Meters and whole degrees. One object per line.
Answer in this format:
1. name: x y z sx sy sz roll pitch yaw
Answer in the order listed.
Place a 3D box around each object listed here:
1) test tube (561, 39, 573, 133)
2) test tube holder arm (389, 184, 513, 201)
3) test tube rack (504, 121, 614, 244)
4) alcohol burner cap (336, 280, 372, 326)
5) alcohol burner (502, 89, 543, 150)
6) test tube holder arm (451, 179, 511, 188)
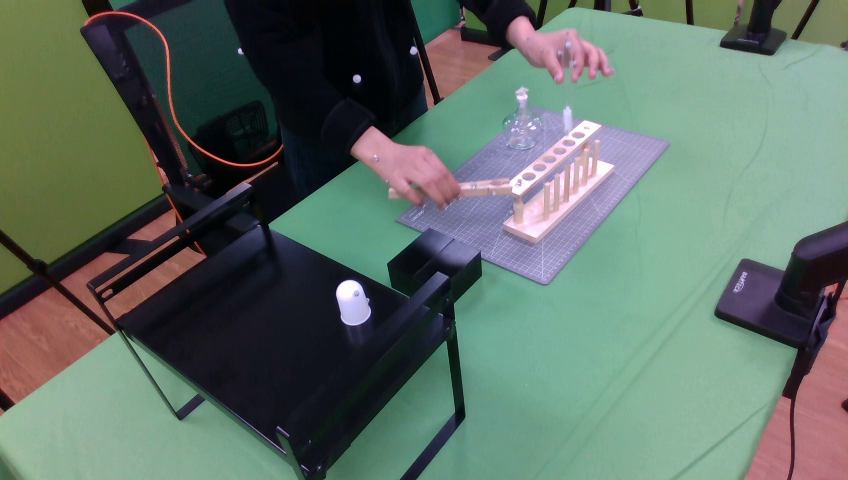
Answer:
1. test tube: 0.218 -0.231 0.919 0.017 0.151 0.017 -7 38 6
2. test tube holder arm: 0.039 -0.068 0.862 0.179 0.015 0.013 -5 34 -8
3. test tube rack: 0.230 -0.102 1.006 0.066 0.085 0.243 27 51 34
4. alcohol burner cap: -0.073 0.061 0.619 0.034 0.048 0.033 -4 42 4
5. alcohol burner: 0.186 -0.233 1.147 0.078 0.119 0.077 -4 42 4
6. test tube holder arm: 0.082 -0.076 0.874 0.088 0.015 0.010 -8 35 -12
